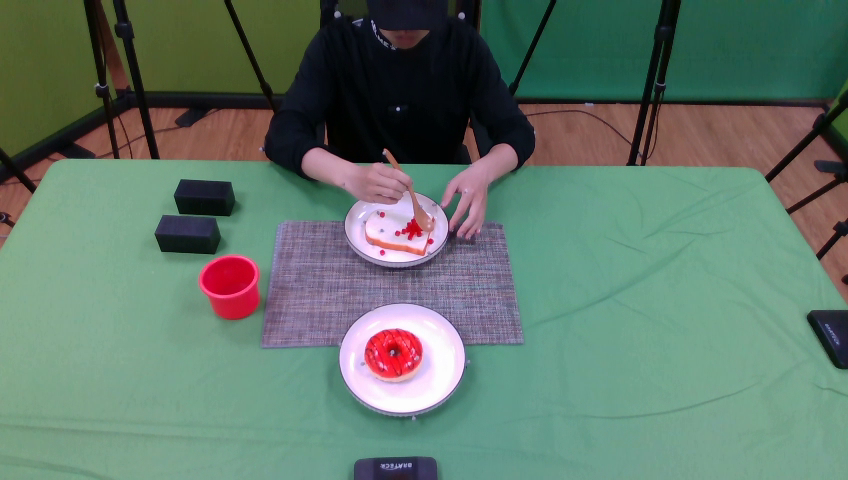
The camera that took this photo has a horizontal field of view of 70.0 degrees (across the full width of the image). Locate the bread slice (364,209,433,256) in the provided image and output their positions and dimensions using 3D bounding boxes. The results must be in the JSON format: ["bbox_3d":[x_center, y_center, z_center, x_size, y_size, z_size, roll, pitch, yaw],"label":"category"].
[{"bbox_3d":[-0.054,-0.019,1.200,0.131,0.019,0.104,11,46,2],"label":"bread slice"}]

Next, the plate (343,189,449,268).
[{"bbox_3d":[-0.055,-0.019,1.195,0.209,0.038,0.208,3,46,-3],"label":"plate"}]

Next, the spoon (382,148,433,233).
[{"bbox_3d":[-0.029,-0.092,1.133,0.021,0.195,0.041,-5,37,31],"label":"spoon"}]

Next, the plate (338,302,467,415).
[{"bbox_3d":[-0.035,0.194,0.992,0.208,0.039,0.206,2,48,-2],"label":"plate"}]

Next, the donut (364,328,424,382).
[{"bbox_3d":[-0.049,0.185,0.984,0.099,0.048,0.098,1,45,-1],"label":"donut"}]
